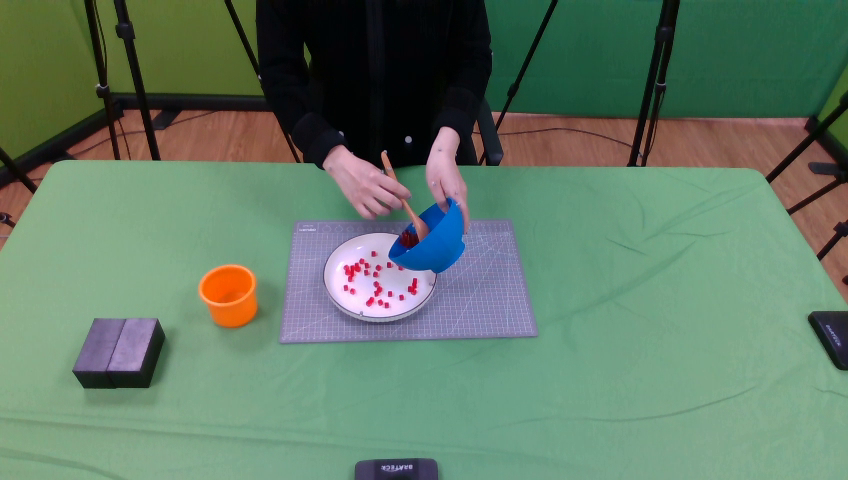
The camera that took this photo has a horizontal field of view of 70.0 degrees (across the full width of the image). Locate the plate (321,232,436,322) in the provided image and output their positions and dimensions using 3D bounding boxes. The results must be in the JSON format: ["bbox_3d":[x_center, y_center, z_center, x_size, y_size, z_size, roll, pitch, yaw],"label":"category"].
[{"bbox_3d":[-0.083,0.070,1.109,0.209,0.038,0.208,3,46,-2],"label":"plate"}]

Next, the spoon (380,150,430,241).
[{"bbox_3d":[-0.031,-0.063,1.028,0.021,0.194,0.041,-15,22,40],"label":"spoon"}]

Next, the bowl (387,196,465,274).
[{"bbox_3d":[0.017,0.004,1.035,0.077,0.151,0.151,47,48,-15],"label":"bowl"}]
